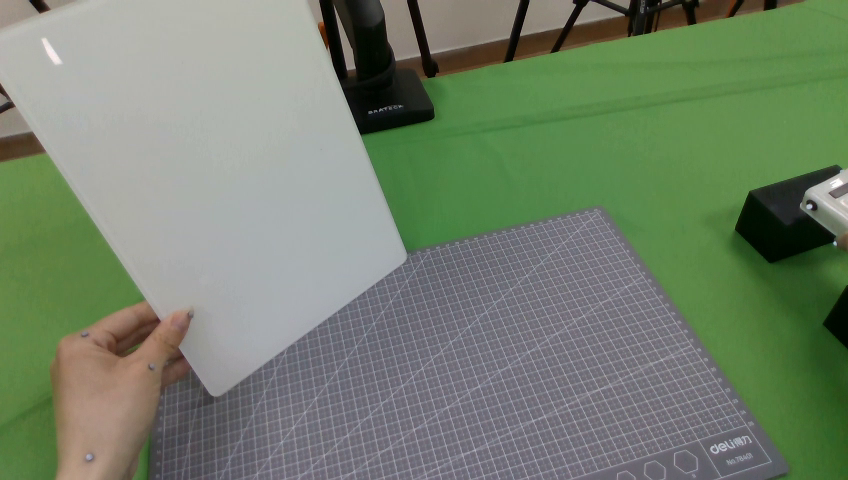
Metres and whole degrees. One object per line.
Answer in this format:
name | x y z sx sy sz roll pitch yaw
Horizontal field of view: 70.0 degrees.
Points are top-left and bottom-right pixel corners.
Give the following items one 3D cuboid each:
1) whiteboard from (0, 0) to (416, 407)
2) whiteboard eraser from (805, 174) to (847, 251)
whiteboard | -0.174 -0.059 0.524 0.217 0.308 0.142 -35 31 -25
whiteboard eraser | 0.373 -0.007 0.489 0.055 0.042 0.111 -32 46 1
